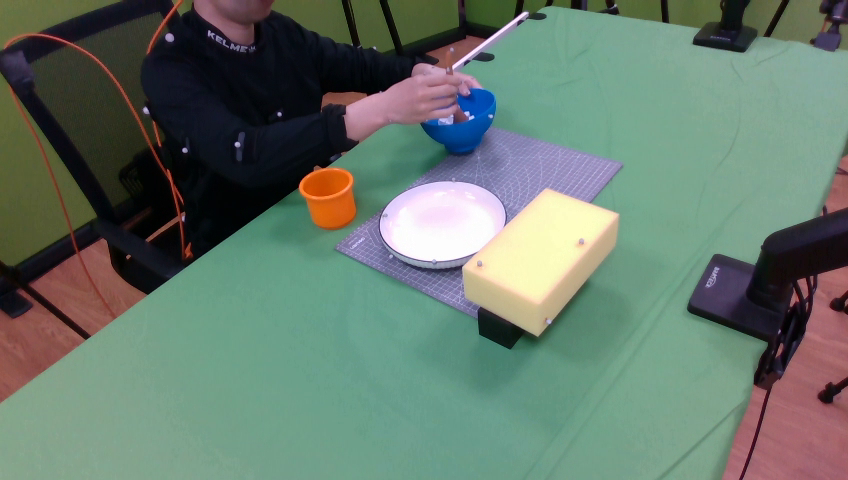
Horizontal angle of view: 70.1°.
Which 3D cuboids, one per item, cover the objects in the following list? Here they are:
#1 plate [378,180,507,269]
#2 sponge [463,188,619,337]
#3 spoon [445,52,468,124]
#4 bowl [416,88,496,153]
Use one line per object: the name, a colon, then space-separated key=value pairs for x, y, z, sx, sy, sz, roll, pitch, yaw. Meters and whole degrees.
plate: x=0.031 y=-0.022 z=0.974 sx=0.209 sy=0.038 sz=0.208 roll=-4 pitch=40 yaw=4
sponge: x=0.160 y=0.022 z=0.814 sx=0.117 sy=0.061 sz=0.207 roll=24 pitch=50 yaw=32
spoon: x=0.053 y=-0.252 z=1.072 sx=0.042 sy=0.195 sz=0.021 roll=-34 pitch=52 yaw=-12
bowl: x=0.067 y=-0.218 z=1.140 sx=0.151 sy=0.077 sz=0.150 roll=-10 pitch=36 yaw=8
